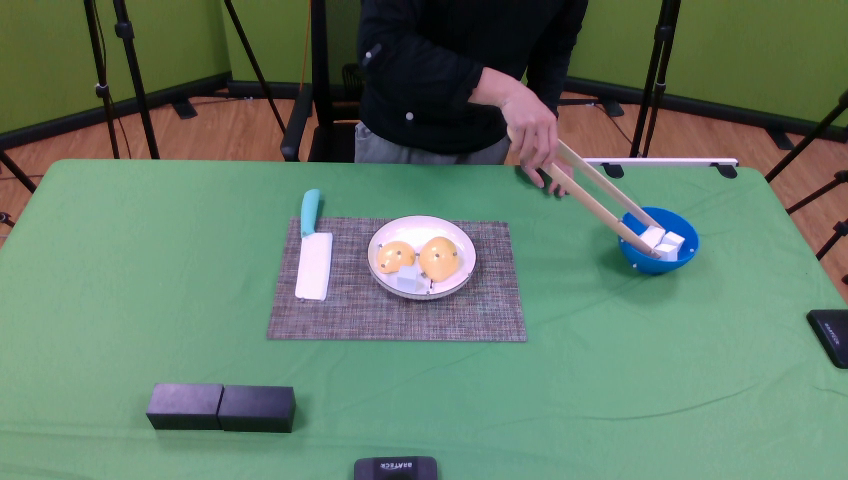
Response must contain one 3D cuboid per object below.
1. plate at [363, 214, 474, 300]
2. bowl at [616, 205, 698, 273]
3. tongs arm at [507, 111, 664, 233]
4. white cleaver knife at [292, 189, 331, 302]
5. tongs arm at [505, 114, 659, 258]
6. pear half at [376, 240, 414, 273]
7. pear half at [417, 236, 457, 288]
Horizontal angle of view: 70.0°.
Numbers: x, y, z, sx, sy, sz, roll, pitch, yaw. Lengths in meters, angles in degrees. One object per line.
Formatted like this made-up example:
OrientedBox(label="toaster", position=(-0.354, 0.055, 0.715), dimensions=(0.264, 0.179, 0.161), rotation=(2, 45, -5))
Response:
OrientedBox(label="plate", position=(-0.010, 0.036, 1.146), dimensions=(0.208, 0.039, 0.206), rotation=(3, 46, -2))
OrientedBox(label="bowl", position=(0.443, 0.011, 1.181), dimensions=(0.151, 0.077, 0.150), rotation=(2, 46, -1))
OrientedBox(label="tongs arm", position=(0.308, -0.120, 1.121), dimensions=(0.389, 0.028, 0.028), rotation=(34, 61, -19))
OrientedBox(label="white cleaver knife", position=(-0.215, 0.006, 1.178), dimensions=(0.066, 0.021, 0.284), rotation=(5, 49, -12))
OrientedBox(label="tongs arm", position=(0.293, -0.090, 1.099), dimensions=(0.386, 0.026, 0.050), rotation=(35, 57, -18))
OrientedBox(label="pear half", position=(-0.058, 0.026, 1.146), dimensions=(0.070, 0.031, 0.088), rotation=(22, 43, 22))
OrientedBox(label="pear half", position=(0.022, 0.039, 1.127), dimensions=(0.076, 0.056, 0.109), rotation=(5, 50, 7))
